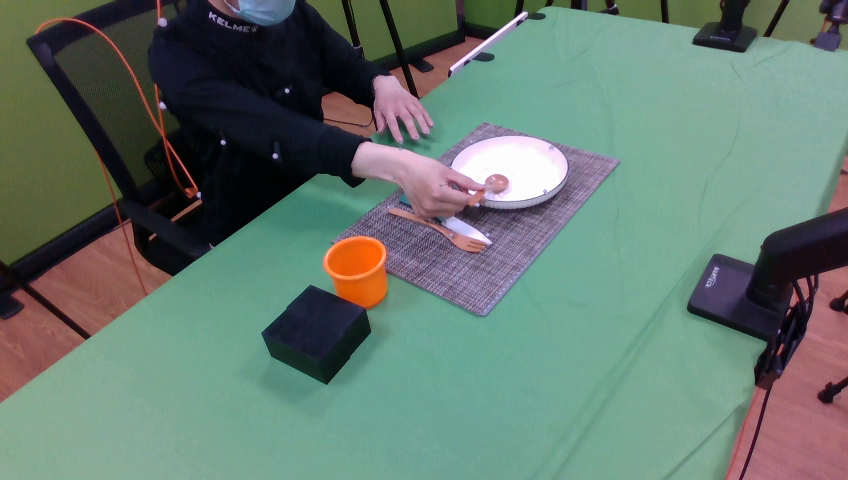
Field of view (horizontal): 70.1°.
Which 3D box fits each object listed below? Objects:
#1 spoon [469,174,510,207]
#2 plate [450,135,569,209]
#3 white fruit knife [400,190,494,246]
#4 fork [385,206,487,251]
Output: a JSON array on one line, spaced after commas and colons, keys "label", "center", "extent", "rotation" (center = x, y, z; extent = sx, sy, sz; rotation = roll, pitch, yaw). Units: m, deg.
[{"label": "spoon", "center": [0.102, -0.083, 0.984], "extent": [0.041, 0.021, 0.194], "rotation": [18, 20, 15]}, {"label": "plate", "center": [0.149, -0.117, 1.066], "extent": [0.209, 0.038, 0.208], "rotation": [-4, 41, 4]}, {"label": "white fruit knife", "center": [0.037, -0.038, 1.009], "extent": [0.205, 0.016, 0.027], "rotation": [32, 84, 34]}, {"label": "fork", "center": [0.015, -0.021, 0.987], "extent": [0.206, 0.019, 0.028], "rotation": [24, 62, 30]}]
